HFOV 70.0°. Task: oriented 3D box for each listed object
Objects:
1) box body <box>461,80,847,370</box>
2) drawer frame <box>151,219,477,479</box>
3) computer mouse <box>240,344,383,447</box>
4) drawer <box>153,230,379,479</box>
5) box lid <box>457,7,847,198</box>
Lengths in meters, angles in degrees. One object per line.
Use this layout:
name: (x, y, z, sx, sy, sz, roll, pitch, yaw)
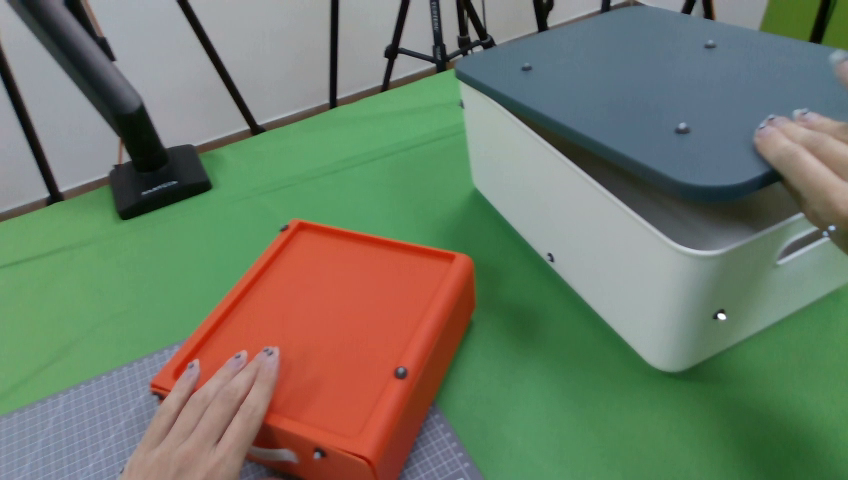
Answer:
box body: (0.227, -0.073, 0.610, 0.254, 0.162, 0.359, -22, 43, -15)
drawer frame: (-0.083, 0.090, 0.532, 0.200, 0.083, 0.212, 11, 44, 20)
computer mouse: (-0.095, 0.128, 0.514, 0.116, 0.041, 0.062, 16, 43, 16)
drawer: (-0.083, 0.094, 0.531, 0.193, 0.074, 0.210, 11, 44, 21)
box lid: (0.216, -0.147, 0.543, 0.264, 0.015, 0.367, -21, 35, -16)
